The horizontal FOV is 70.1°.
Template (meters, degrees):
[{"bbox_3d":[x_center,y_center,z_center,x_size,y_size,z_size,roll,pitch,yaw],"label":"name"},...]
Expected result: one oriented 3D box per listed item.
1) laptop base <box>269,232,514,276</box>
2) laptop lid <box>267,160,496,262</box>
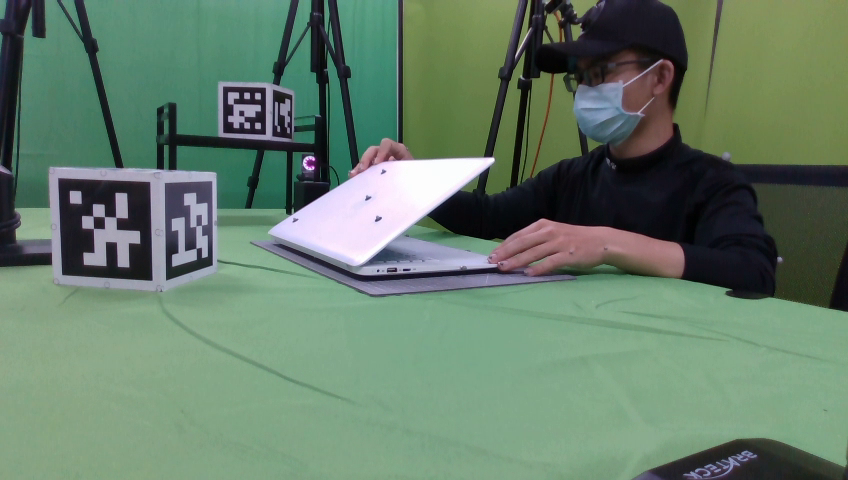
[{"bbox_3d":[-0.066,0.017,0.893,0.237,0.023,0.352,2,6,-32],"label":"laptop base"},{"bbox_3d":[-0.081,-0.057,0.872,0.242,0.013,0.355,-35,23,-21],"label":"laptop lid"}]
